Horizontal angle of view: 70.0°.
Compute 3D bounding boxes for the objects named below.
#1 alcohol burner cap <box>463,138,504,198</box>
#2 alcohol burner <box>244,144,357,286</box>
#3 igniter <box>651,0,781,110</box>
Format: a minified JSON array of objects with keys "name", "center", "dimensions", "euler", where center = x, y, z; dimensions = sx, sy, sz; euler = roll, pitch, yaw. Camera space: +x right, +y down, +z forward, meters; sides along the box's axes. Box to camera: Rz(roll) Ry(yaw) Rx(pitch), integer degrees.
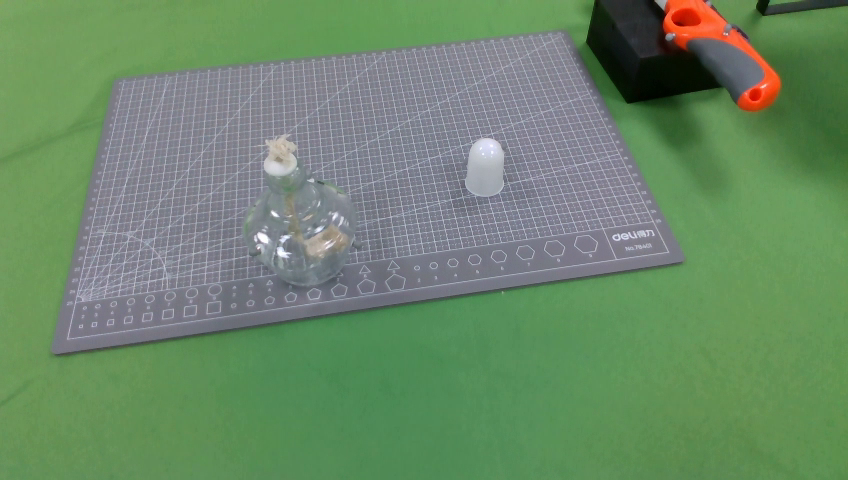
[{"name":"alcohol burner cap","center":[0.049,-0.060,0.481],"dimensions":[0.034,0.048,0.033],"euler":[0,52,0]},{"name":"alcohol burner","center":[-0.086,-0.021,0.408],"dimensions":[0.078,0.120,0.077],"euler":[-1,54,1]},{"name":"igniter","center":[0.231,-0.206,0.542],"dimensions":[0.057,0.025,0.273],"euler":[-12,51,-5]}]
